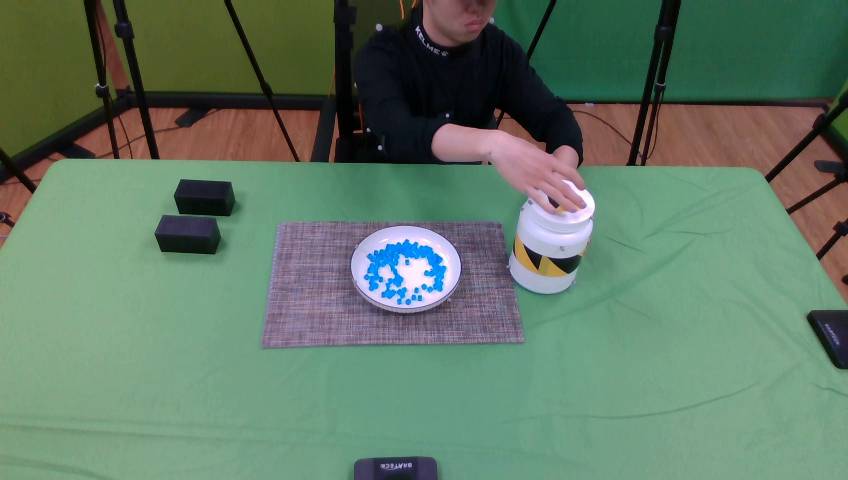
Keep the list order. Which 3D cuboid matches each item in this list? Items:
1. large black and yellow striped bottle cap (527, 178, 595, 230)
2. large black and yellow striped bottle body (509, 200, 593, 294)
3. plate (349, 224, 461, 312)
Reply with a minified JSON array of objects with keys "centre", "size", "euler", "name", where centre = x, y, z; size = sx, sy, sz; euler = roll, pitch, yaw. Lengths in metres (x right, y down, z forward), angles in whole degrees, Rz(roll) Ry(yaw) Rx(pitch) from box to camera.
[{"centre":[0.236,-0.064,1.045],"size":[0.115,0.019,0.114],"euler":[3,47,-3],"name":"large black and yellow striped bottle cap"},{"centre":[0.232,-0.005,1.105],"size":[0.131,0.185,0.130],"euler":[2,46,-2],"name":"large black and yellow striped bottle body"},{"centre":[-0.035,0.054,1.126],"size":[0.208,0.039,0.206],"euler":[2,46,-2],"name":"plate"}]
